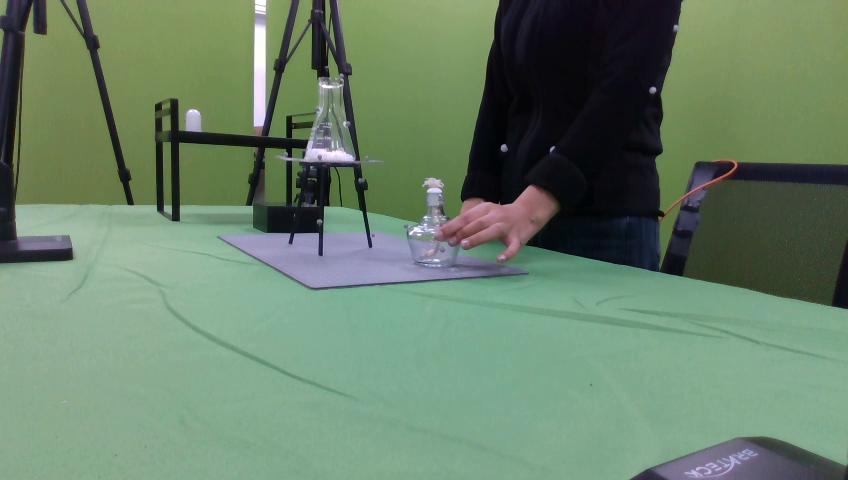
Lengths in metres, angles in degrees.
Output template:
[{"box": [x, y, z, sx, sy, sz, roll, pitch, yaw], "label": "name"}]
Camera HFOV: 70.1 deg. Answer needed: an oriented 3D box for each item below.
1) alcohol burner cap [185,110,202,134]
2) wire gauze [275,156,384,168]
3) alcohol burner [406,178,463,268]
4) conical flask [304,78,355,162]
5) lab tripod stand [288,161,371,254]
[{"box": [-0.470, -0.242, 1.234, 0.034, 0.048, 0.034, 3, 7, 0], "label": "alcohol burner cap"}, {"box": [-0.142, -0.116, 0.900, 0.122, 0.011, 0.124, -1, 5, -37], "label": "wire gauze"}, {"box": [0.014, -0.023, 0.811, 0.078, 0.119, 0.078, -1, 8, 0], "label": "alcohol burner"}, {"box": [-0.139, -0.175, 0.893, 0.075, 0.122, 0.075, 2, 8, 0], "label": "conical flask"}, {"box": [-0.148, -0.053, 0.909, 0.148, 0.131, 0.148, 1, 8, 0], "label": "lab tripod stand"}]
